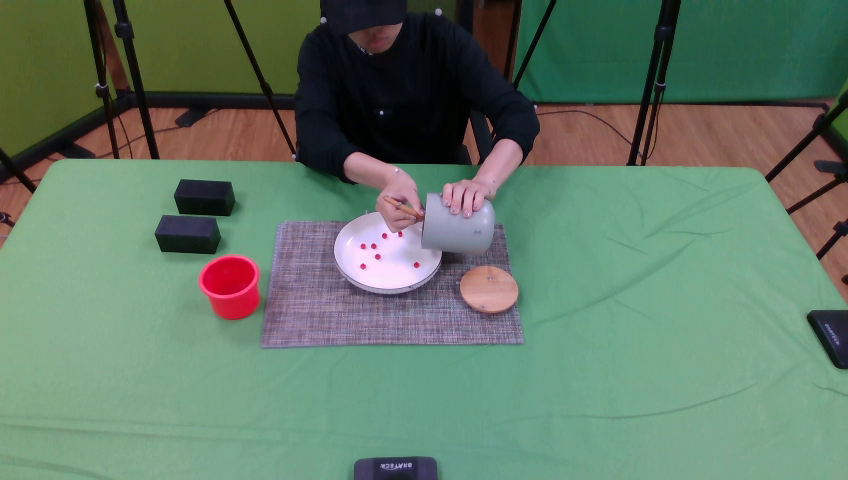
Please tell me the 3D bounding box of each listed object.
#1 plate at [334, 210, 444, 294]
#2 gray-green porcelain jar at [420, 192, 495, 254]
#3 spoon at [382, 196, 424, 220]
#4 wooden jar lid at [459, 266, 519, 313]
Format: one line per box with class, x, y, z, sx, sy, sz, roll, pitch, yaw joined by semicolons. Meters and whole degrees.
plate;-0.066;0.026;1.150;0.208;0.039;0.206;2;46;-2
gray-green porcelain jar;0.061;-0.030;1.106;0.126;0.106;0.105;6;46;-2
spoon;0.009;-0.040;1.095;0.194;0.022;0.041;18;29;-23
wooden jar lid;0.118;0.093;1.111;0.108;0.021;0.107;1;47;-1
